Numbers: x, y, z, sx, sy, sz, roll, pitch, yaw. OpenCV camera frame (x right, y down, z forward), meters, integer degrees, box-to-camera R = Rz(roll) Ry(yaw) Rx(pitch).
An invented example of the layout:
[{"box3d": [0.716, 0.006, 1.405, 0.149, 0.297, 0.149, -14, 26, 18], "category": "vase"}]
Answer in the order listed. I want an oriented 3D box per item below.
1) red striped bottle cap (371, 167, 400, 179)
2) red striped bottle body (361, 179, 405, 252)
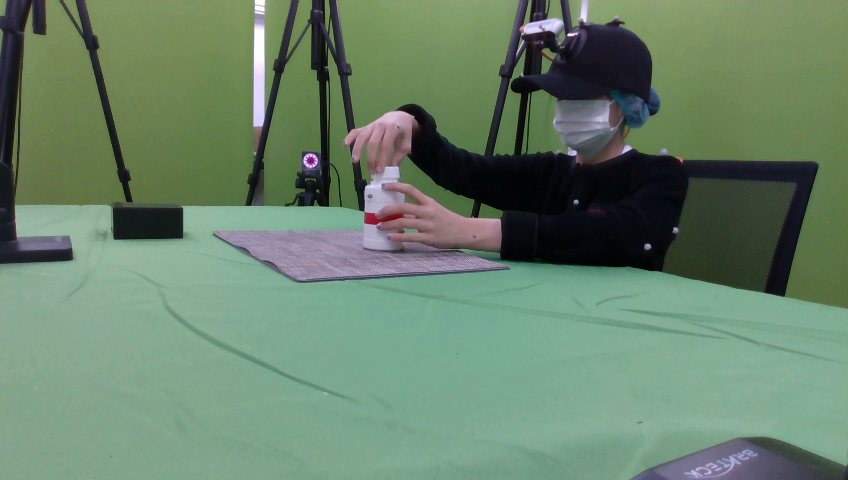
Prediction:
[{"box3d": [-0.060, -0.102, 0.925, 0.044, 0.017, 0.044, -1, 7, 0], "category": "red striped bottle cap"}, {"box3d": [-0.063, -0.044, 0.933, 0.063, 0.119, 0.063, 4, 8, 0], "category": "red striped bottle body"}]
